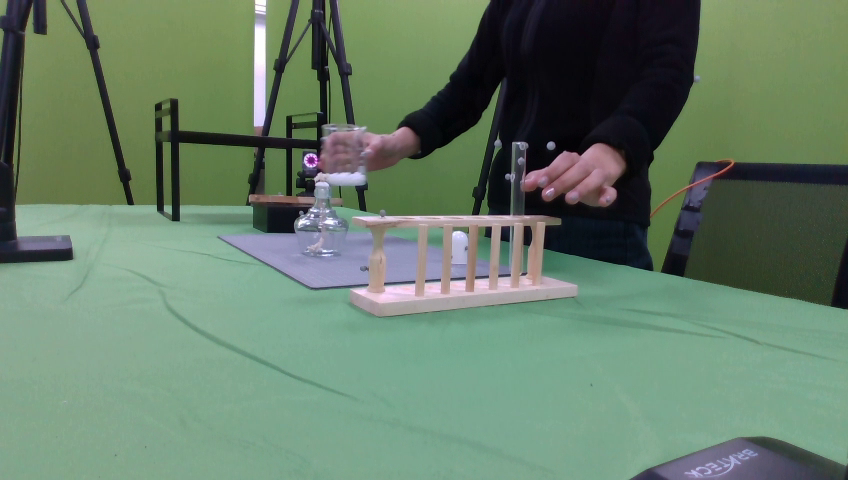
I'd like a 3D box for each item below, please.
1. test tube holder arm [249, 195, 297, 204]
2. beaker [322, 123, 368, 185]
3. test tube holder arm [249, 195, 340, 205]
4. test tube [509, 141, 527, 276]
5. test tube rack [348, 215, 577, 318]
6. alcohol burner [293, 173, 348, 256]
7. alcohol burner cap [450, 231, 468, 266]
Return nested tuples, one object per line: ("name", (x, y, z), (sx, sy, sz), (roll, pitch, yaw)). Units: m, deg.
("test tube holder arm", (-0.284, -0.076, 1.141), (0.088, 0.015, 0.010), (0, 9, -29))
("beaker", (-0.128, -0.142, 1.013), (0.083, 0.100, 0.074), (5, 9, 36))
("test tube holder arm", (-0.247, -0.077, 1.169), (0.179, 0.015, 0.013), (0, 9, -31))
("test tube", (0.102, -0.032, 0.662), (0.017, 0.150, 0.017), (0, 10, 0))
("test tube rack", (0.048, 0.020, 0.619), (0.244, 0.085, 0.066), (-2, 8, -31))
("alcohol burner", (-0.146, -0.036, 0.859), (0.078, 0.119, 0.078), (4, 9, 0))
("alcohol burner cap", (0.046, 0.012, 0.839), (0.034, 0.048, 0.034), (3, 5, 0))
